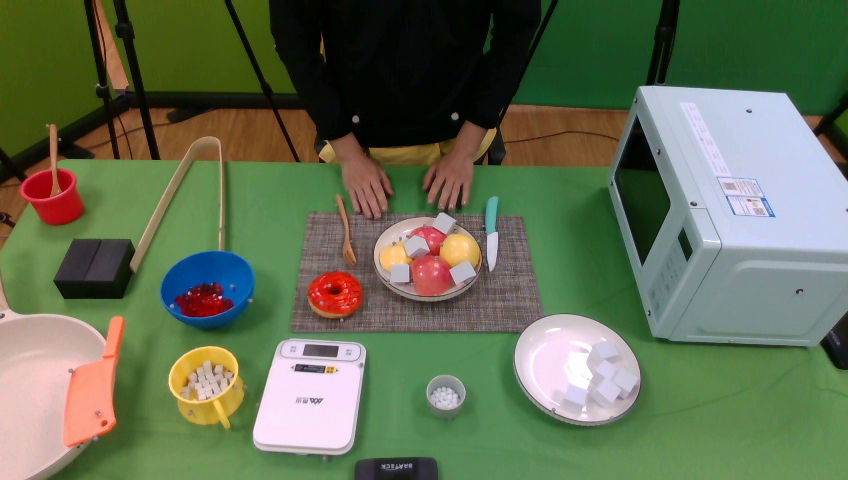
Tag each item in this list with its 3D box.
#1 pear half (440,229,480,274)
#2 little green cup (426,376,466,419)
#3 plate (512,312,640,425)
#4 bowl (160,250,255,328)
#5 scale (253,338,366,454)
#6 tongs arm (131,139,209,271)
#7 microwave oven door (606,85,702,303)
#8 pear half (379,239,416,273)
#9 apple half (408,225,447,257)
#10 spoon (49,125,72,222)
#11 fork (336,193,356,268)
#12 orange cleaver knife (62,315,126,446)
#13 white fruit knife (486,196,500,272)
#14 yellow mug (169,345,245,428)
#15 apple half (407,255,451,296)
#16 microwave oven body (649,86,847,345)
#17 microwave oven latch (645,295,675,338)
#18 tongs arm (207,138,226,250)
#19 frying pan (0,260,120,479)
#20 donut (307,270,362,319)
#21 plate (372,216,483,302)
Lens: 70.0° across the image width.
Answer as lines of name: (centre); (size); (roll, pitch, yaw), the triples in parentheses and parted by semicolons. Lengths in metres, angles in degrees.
pear half: (0.065, 0.007, 1.150); (0.076, 0.056, 0.109); (-10, 43, -3)
little green cup: (0.033, 0.248, 0.950); (0.061, 0.039, 0.061); (2, 46, -2)
plate: (0.246, 0.213, 0.999); (0.208, 0.039, 0.206); (2, 46, -2)
bowl: (-0.362, 0.098, 1.040); (0.151, 0.077, 0.150); (2, 45, -2)
scale: (-0.175, 0.236, 0.951); (0.149, 0.032, 0.199); (5, 45, -1)
tongs arm: (-0.514, -0.086, 1.237); (0.028, 0.028, 0.385); (0, 45, 5)
microwave oven door: (0.422, -0.094, 1.140); (0.039, 0.245, 0.353); (2, 46, -1)
pear half: (-0.048, 0.024, 1.147); (0.070, 0.031, 0.087); (13, 48, -11)
apple half: (0.010, -0.006, 1.176); (0.081, 0.033, 0.081); (1, 52, -1)
spoon: (-0.718, -0.131, 1.189); (0.041, 0.021, 0.193); (-4, 90, -6)
fork: (-0.158, -0.025, 1.207); (0.019, 0.028, 0.206); (15, 38, -27)
orange cleaver knife: (-0.480, 0.199, 0.887); (0.077, 0.012, 0.210); (-9, 47, -8)
white fruit knife: (0.138, -0.015, 1.221); (0.027, 0.016, 0.206); (-2, 46, 10)
yellow mug: (-0.322, 0.230, 0.922); (0.100, 0.064, 0.130); (-24, 53, -25)
apple half: (0.011, 0.058, 1.103); (0.075, 0.053, 0.080); (-6, 43, -13)
microwave oven body: (0.567, -0.053, 1.118); (0.326, 0.261, 0.439); (2, 45, -1)
microwave oven latch: (0.411, 0.134, 1.061); (0.030, 0.029, 0.078); (3, 45, 0)
tongs arm: (-0.431, -0.090, 1.245); (0.051, 0.026, 0.382); (-8, 46, -7)
frying pan: (-0.647, 0.164, 0.936); (0.307, 0.103, 0.485); (-19, 58, -22)
donut: (-0.158, 0.097, 1.073); (0.099, 0.048, 0.098); (4, 45, -4)
plate: (0.006, 0.038, 1.145); (0.209, 0.038, 0.208); (2, 46, -2)
